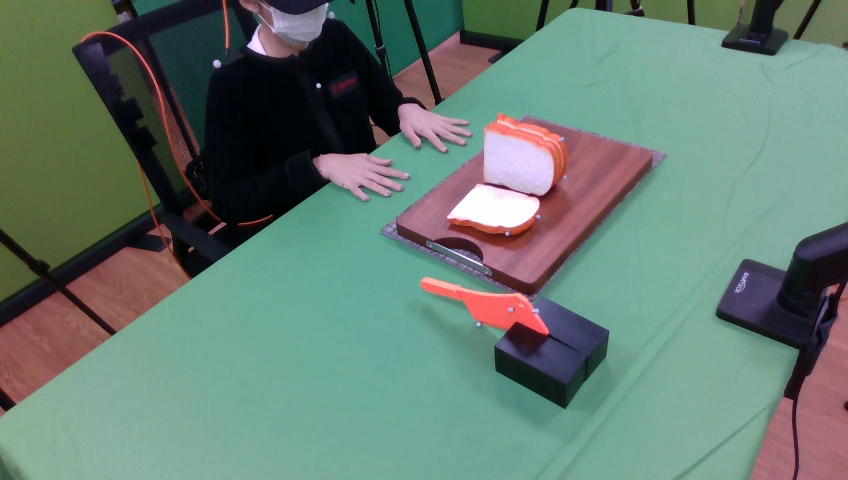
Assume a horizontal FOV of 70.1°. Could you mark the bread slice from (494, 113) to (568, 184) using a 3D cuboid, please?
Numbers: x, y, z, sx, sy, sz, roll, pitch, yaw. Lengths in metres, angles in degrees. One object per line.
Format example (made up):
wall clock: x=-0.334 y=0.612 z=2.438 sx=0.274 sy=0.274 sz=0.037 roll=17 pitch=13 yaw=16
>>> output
bread slice: x=0.176 y=-0.145 z=1.015 sx=0.133 sy=0.107 sz=0.018 roll=26 pitch=50 yaw=23

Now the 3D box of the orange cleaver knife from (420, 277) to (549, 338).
orange cleaver knife: x=0.076 y=0.089 z=0.813 sx=0.209 sy=0.077 sz=0.012 roll=9 pitch=43 yaw=47

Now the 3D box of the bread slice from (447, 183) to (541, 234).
bread slice: x=0.117 y=-0.047 z=0.964 sx=0.130 sy=0.019 sz=0.105 roll=17 pitch=44 yaw=31
